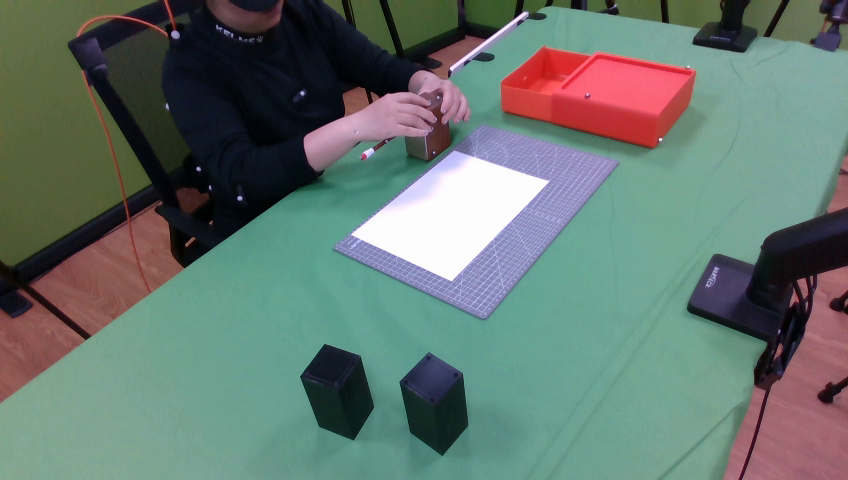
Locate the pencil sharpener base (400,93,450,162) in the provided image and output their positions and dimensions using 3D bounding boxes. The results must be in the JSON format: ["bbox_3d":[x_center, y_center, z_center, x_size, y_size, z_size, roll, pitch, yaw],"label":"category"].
[{"bbox_3d":[0.006,-0.216,1.159,0.061,0.107,0.077,25,49,33],"label":"pencil sharpener base"}]

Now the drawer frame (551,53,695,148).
[{"bbox_3d":[0.390,-0.281,1.196,0.212,0.083,0.202,22,48,29],"label":"drawer frame"}]

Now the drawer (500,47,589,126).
[{"bbox_3d":[0.295,-0.316,1.255,0.210,0.073,0.195,22,47,29],"label":"drawer"}]

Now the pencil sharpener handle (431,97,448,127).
[{"bbox_3d":[0.035,-0.254,1.181,0.035,0.068,0.031,31,52,26],"label":"pencil sharpener handle"}]

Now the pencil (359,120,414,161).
[{"bbox_3d":[-0.051,-0.193,1.099,0.012,0.012,0.194,23,49,32],"label":"pencil"}]
